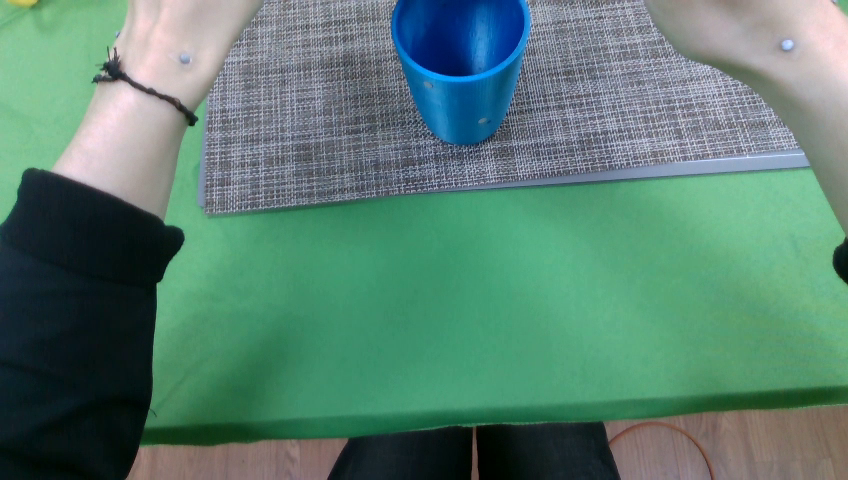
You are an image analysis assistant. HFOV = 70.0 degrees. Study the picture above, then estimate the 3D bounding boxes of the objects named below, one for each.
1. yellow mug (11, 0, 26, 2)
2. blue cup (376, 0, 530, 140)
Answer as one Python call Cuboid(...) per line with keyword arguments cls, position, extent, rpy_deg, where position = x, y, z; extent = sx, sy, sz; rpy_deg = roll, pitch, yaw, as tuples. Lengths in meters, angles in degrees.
Cuboid(cls="yellow mug", position=(-0.333, -0.260, 0.505), extent=(0.100, 0.064, 0.130), rpy_deg=(5, 71, 5))
Cuboid(cls="blue cup", position=(0.025, -0.118, 0.411), extent=(0.092, 0.101, 0.092), rpy_deg=(-1, 70, 4))
